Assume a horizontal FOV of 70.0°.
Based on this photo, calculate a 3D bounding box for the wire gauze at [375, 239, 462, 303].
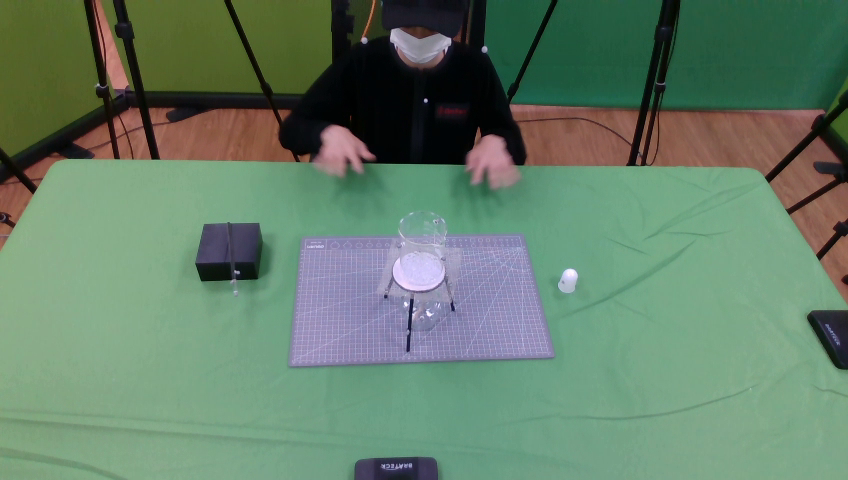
[{"bbox_3d":[-0.006,0.049,0.977,0.121,0.011,0.124,10,44,5],"label":"wire gauze"}]

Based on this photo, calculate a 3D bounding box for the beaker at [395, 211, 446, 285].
[{"bbox_3d":[-0.002,0.017,0.941,0.083,0.101,0.074,36,54,29],"label":"beaker"}]

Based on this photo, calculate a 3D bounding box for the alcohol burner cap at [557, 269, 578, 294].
[{"bbox_3d":[0.270,0.074,1.135,0.034,0.048,0.033,2,46,-2],"label":"alcohol burner cap"}]

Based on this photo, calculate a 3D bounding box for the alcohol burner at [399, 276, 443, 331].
[{"bbox_3d":[-0.004,0.100,1.033,0.078,0.119,0.077,3,48,-3],"label":"alcohol burner"}]

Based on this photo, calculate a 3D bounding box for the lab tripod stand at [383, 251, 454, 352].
[{"bbox_3d":[-0.016,0.094,1.025,0.148,0.132,0.147,1,46,-1],"label":"lab tripod stand"}]

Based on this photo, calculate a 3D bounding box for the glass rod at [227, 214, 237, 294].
[{"bbox_3d":[-0.347,0.022,1.092,0.008,0.008,0.198,-9,47,-13],"label":"glass rod"}]
